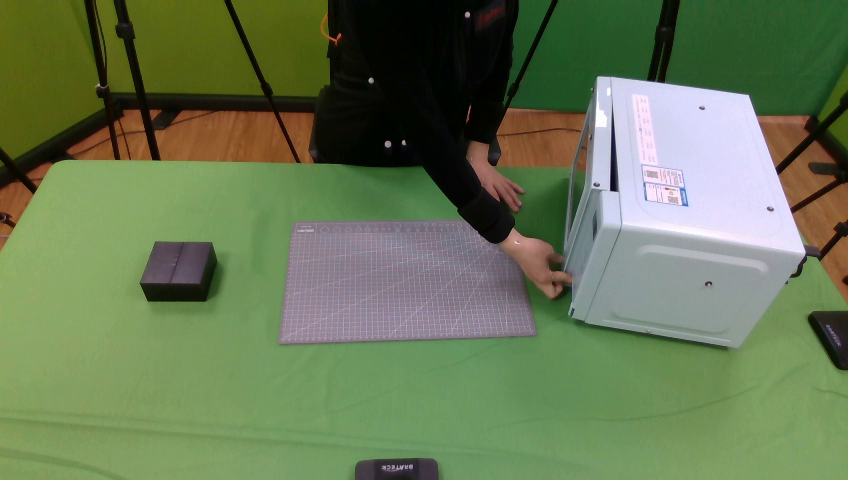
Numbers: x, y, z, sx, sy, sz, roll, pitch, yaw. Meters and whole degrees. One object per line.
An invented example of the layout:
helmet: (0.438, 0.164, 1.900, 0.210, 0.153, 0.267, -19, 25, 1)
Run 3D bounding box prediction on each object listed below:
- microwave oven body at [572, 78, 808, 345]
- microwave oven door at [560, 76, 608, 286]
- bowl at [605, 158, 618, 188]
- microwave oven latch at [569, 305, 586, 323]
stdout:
microwave oven body: (0.456, -0.063, 1.124, 0.326, 0.261, 0.439, 8, 45, 5)
microwave oven door: (0.311, -0.120, 1.161, 0.039, 0.245, 0.354, 11, 46, 7)
bowl: (0.422, -0.093, 1.195, 0.151, 0.077, 0.150, 4, 48, -4)
microwave oven latch: (0.282, 0.110, 1.078, 0.030, 0.029, 0.079, 21, 48, 17)
